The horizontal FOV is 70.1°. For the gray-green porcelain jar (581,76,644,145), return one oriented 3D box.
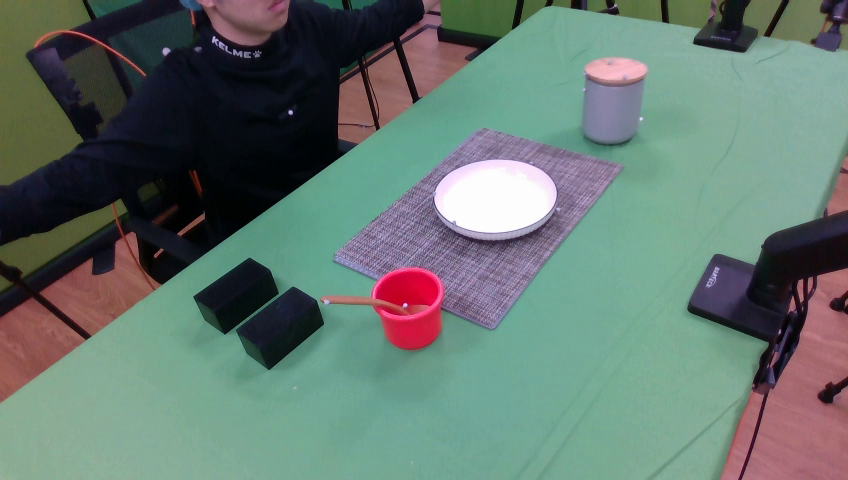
[{"bbox_3d":[0.350,-0.251,1.131,0.106,0.127,0.105,-4,41,4],"label":"gray-green porcelain jar"}]

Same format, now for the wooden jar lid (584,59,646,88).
[{"bbox_3d":[0.343,-0.298,1.089,0.108,0.021,0.108,-3,38,3],"label":"wooden jar lid"}]

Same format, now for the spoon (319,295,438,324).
[{"bbox_3d":[-0.055,0.086,0.784,0.195,0.021,0.041,19,19,-44],"label":"spoon"}]

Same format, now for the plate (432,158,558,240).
[{"bbox_3d":[0.118,-0.066,1.013,0.207,0.039,0.206,-4,41,4],"label":"plate"}]
